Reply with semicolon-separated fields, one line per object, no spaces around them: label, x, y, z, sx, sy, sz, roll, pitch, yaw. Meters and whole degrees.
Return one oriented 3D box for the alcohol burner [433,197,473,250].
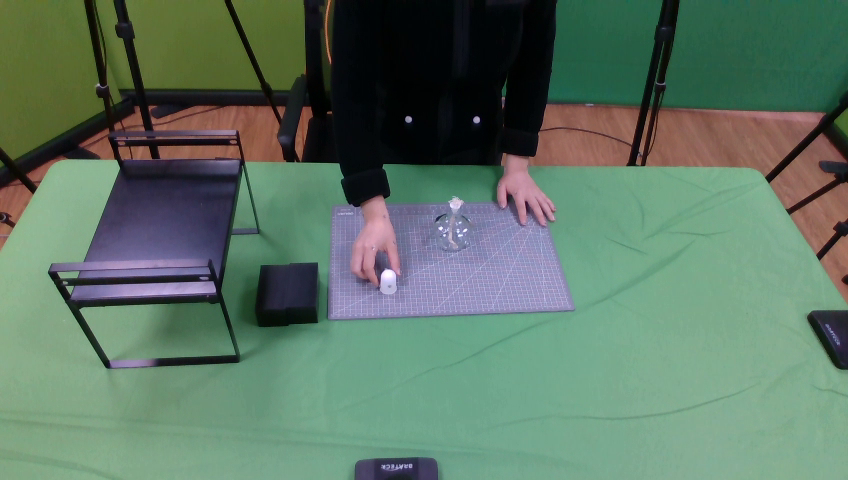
alcohol burner;0.058;-0.038;1.169;0.078;0.119;0.077;3;45;-3

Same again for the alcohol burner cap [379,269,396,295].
alcohol burner cap;-0.066;0.073;1.103;0.034;0.048;0.033;3;47;-3
